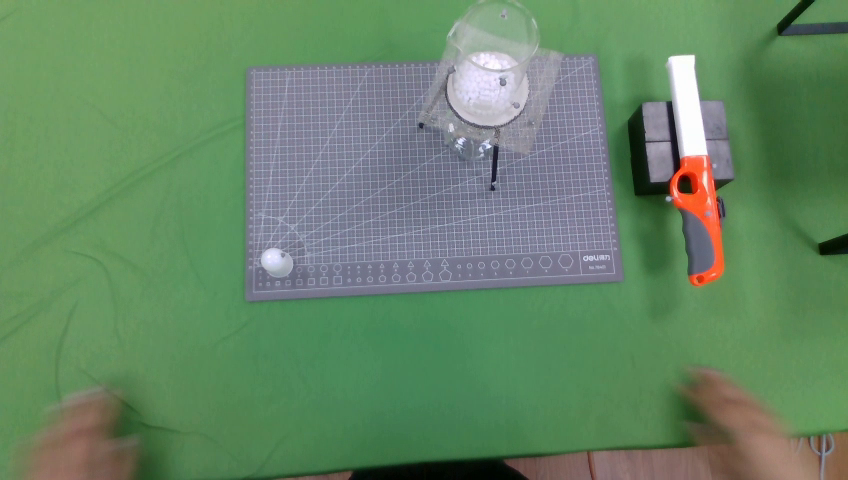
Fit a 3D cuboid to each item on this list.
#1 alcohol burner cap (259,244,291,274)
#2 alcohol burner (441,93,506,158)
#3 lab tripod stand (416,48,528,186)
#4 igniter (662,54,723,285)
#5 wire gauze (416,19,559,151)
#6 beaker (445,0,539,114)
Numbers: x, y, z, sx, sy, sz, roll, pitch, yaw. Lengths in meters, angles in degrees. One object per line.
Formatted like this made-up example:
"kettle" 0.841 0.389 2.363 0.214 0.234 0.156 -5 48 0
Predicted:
"alcohol burner cap" -0.174 0.020 0.699 0.034 0.048 0.033 1 78 -2
"alcohol burner" 0.059 -0.140 0.703 0.078 0.119 0.077 0 80 0
"lab tripod stand" 0.064 -0.151 0.695 0.148 0.132 0.147 0 76 -1
"igniter" 0.307 -0.086 0.699 0.057 0.025 0.275 -3 78 3
"wire gauze" 0.068 -0.161 0.631 0.121 0.011 0.124 20 75 0
"beaker" 0.060 -0.172 0.583 0.084 0.100 0.073 -2 76 -2
